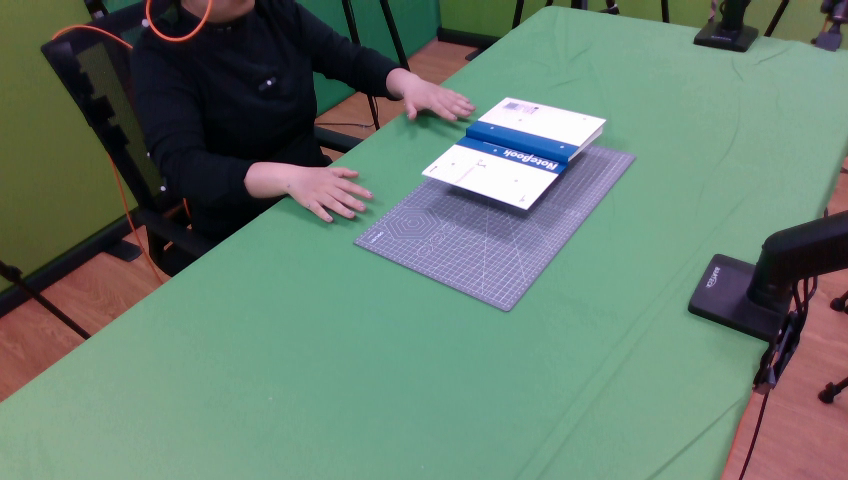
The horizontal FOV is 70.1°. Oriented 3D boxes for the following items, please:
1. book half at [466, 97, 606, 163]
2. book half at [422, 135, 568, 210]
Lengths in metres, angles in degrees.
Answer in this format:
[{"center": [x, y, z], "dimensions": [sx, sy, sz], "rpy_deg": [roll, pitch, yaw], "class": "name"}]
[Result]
[{"center": [0.203, -0.207, 1.105], "dimensions": [0.208, 0.016, 0.149], "rpy_deg": [22, 47, 31], "class": "book half"}, {"center": [0.119, -0.121, 1.027], "dimensions": [0.208, 0.007, 0.143], "rpy_deg": [22, 49, 30], "class": "book half"}]
